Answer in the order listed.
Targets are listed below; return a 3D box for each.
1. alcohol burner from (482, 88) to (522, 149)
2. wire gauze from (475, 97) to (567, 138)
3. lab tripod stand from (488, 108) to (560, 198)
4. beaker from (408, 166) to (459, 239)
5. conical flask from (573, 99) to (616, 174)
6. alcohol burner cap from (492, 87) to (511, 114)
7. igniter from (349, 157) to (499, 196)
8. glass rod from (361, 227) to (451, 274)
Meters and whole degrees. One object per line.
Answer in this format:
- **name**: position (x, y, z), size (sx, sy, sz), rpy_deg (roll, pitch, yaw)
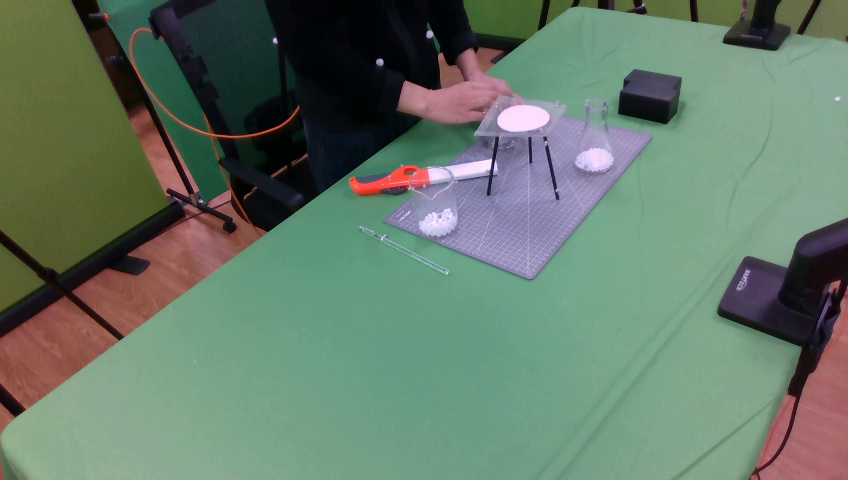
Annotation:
- **alcohol burner**: position (0.149, -0.237, 1.160), size (0.078, 0.119, 0.077), rpy_deg (-4, 39, 4)
- **wire gauze**: position (0.161, -0.201, 0.994), size (0.121, 0.011, 0.125), rpy_deg (11, 43, 23)
- **lab tripod stand**: position (0.173, -0.150, 1.037), size (0.148, 0.132, 0.147), rpy_deg (-6, 38, 6)
- **beaker**: position (0.018, -0.058, 0.984), size (0.074, 0.101, 0.083), rpy_deg (-6, 41, 6)
- **conical flask**: position (0.302, -0.184, 1.061), size (0.075, 0.122, 0.075), rpy_deg (-5, 40, 5)
- **alcohol burner cap**: position (0.144, -0.264, 1.136), size (0.034, 0.048, 0.033), rpy_deg (-9, 39, 8)
- **igniter**: position (-0.001, -0.117, 1.117), size (0.277, 0.025, 0.057), rpy_deg (-9, 56, 2)
- **glass rod**: position (-0.033, 0.014, 0.985), size (0.198, 0.008, 0.008), rpy_deg (25, 52, 34)
